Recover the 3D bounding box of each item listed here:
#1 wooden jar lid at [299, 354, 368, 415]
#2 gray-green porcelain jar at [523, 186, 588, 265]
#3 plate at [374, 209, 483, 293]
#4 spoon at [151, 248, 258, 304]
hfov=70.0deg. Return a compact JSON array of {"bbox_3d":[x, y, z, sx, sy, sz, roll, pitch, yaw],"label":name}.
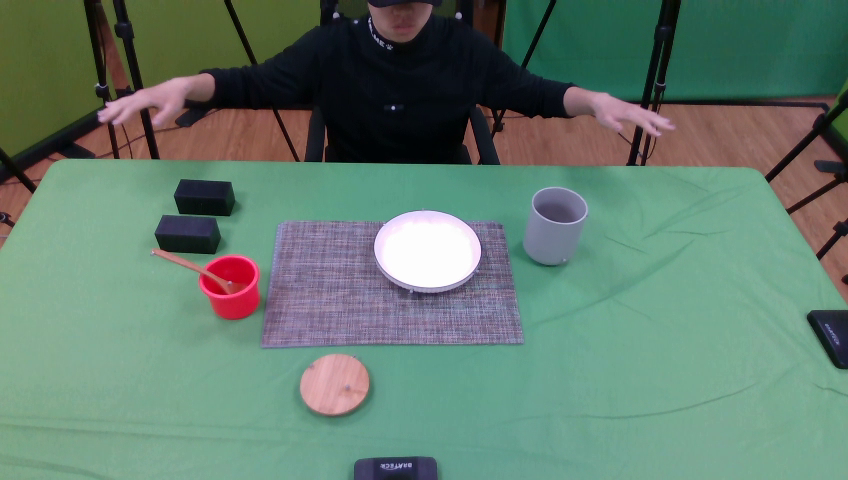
[{"bbox_3d":[-0.143,0.232,0.964,0.108,0.021,0.107,2,45,-2],"label":"wooden jar lid"},{"bbox_3d":[0.249,-0.023,1.164,0.106,0.127,0.105,2,46,-2],"label":"gray-green porcelain jar"},{"bbox_3d":[0.008,0.024,1.158,0.208,0.039,0.206,2,46,-2],"label":"plate"},{"bbox_3d":[-0.369,0.058,1.028,0.195,0.021,0.041,36,35,-32],"label":"spoon"}]
